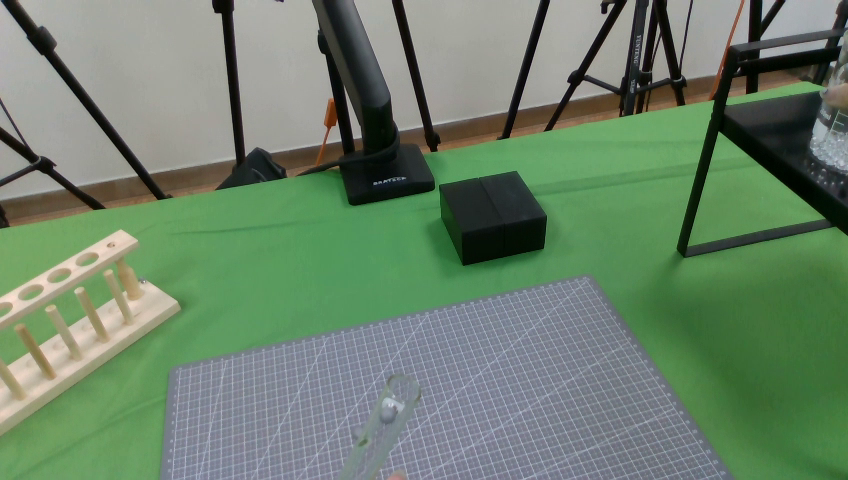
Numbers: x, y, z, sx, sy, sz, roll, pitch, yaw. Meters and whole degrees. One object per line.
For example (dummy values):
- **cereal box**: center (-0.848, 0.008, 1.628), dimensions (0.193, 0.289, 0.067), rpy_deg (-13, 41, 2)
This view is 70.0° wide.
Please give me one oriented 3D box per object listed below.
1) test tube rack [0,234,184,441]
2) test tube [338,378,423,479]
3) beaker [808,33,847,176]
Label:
- **test tube rack**: center (-0.367, 0.099, 0.587), dimensions (0.066, 0.086, 0.242), rpy_deg (24, 47, 31)
- **test tube**: center (-0.035, 0.119, 0.280), dimensions (0.017, 0.151, 0.017), rpy_deg (19, 30, -11)
- **beaker**: center (0.353, -0.107, 0.475), dimensions (0.074, 0.101, 0.083), rpy_deg (-8, 37, -5)
